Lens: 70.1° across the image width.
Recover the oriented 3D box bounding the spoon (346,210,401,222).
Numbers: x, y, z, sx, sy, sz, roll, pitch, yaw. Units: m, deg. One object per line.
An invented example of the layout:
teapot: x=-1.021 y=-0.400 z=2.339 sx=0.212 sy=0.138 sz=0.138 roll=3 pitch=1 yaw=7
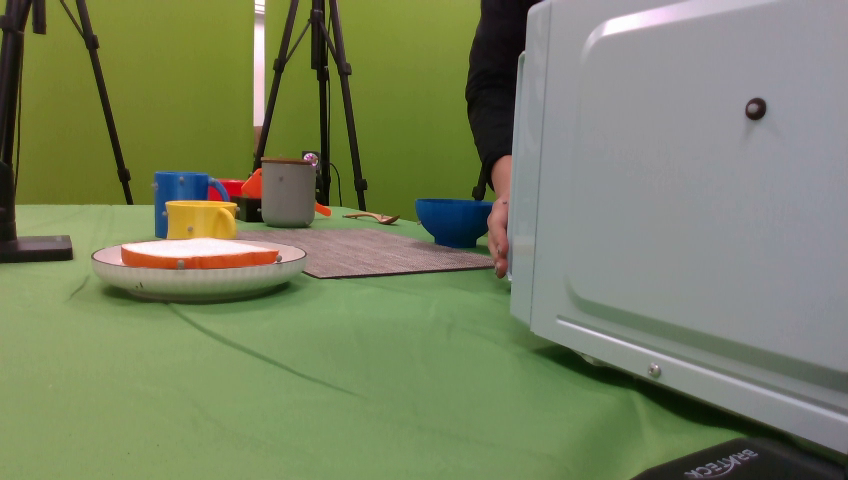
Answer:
spoon: x=-0.121 y=-0.060 z=1.400 sx=0.042 sy=0.021 sz=0.192 roll=-27 pitch=24 yaw=-38

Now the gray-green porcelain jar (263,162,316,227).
gray-green porcelain jar: x=-0.271 y=-0.092 z=1.217 sx=0.106 sy=0.126 sz=0.106 roll=2 pitch=7 yaw=0

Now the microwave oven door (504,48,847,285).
microwave oven door: x=0.271 y=-0.078 z=0.656 sx=0.356 sy=0.243 sz=0.039 roll=2 pitch=8 yaw=-1

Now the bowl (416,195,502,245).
bowl: x=0.059 y=-0.035 z=1.049 sx=0.151 sy=0.077 sz=0.151 roll=2 pitch=7 yaw=0

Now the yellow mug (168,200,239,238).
yellow mug: x=-0.320 y=-0.023 z=0.904 sx=0.130 sy=0.064 sz=0.100 roll=9 pitch=11 yaw=36

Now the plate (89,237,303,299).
plate: x=-0.233 y=0.029 z=0.637 sx=0.208 sy=0.039 sz=0.207 roll=2 pitch=7 yaw=0

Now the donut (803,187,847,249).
donut: x=0.346 y=-0.020 z=0.463 sx=0.099 sy=0.048 sz=0.099 roll=-11 pitch=7 yaw=2

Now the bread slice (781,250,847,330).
bread slice: x=0.371 y=0.030 z=0.477 sx=0.132 sy=0.019 sz=0.104 roll=-29 pitch=18 yaw=-9

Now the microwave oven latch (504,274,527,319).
microwave oven latch: x=0.100 y=0.041 z=0.470 sx=0.079 sy=0.029 sz=0.030 roll=-1 pitch=7 yaw=-28

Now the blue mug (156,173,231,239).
blue mug: x=-0.381 y=-0.057 z=1.004 sx=0.117 sy=0.106 sz=0.082 roll=0 pitch=8 yaw=-12

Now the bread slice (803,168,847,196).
bread slice: x=0.363 y=-0.051 z=0.454 sx=0.135 sy=0.018 sz=0.106 roll=-10 pitch=3 yaw=-23

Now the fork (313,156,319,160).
fork: x=-0.331 y=-0.144 z=1.506 sx=0.207 sy=0.018 sz=0.028 roll=-42 pitch=-18 yaw=22

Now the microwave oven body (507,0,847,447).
microwave oven body: x=0.331 y=-0.042 z=0.425 sx=0.444 sy=0.260 sz=0.324 roll=-2 pitch=8 yaw=-31

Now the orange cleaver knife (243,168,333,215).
orange cleaver knife: x=-0.300 y=-0.089 z=1.352 sx=0.212 sy=0.077 sz=0.012 roll=29 pitch=-9 yaw=-34

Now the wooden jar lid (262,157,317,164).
wooden jar lid: x=-0.269 y=-0.154 z=1.208 sx=0.108 sy=0.020 sz=0.108 roll=3 pitch=4 yaw=0
